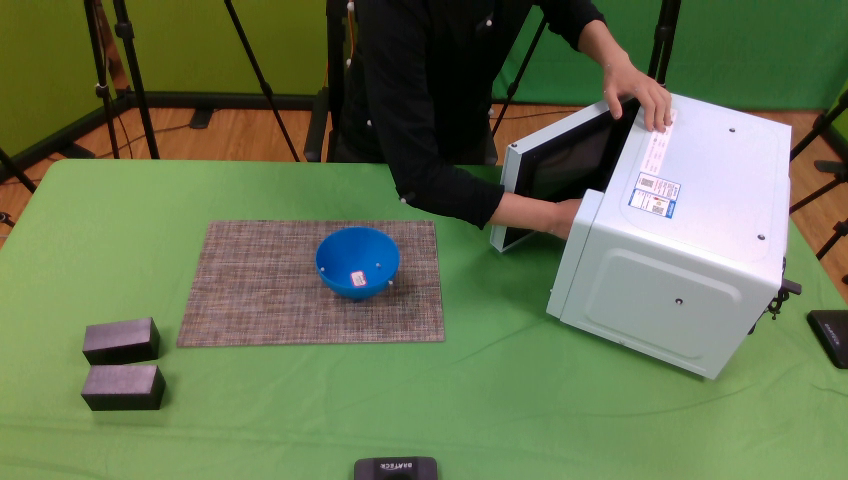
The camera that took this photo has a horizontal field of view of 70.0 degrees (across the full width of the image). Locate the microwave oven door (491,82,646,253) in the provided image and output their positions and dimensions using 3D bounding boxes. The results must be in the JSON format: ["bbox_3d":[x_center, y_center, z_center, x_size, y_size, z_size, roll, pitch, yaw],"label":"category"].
[{"bbox_3d":[0.284,-0.144,1.179,0.356,0.245,0.039,-29,53,-27],"label":"microwave oven door"}]

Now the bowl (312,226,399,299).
[{"bbox_3d":[-0.121,0.054,1.091,0.151,0.077,0.150,2,46,-2],"label":"bowl"}]

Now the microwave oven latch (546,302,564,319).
[{"bbox_3d":[0.242,0.102,1.081,0.030,0.029,0.079,22,48,17],"label":"microwave oven latch"}]

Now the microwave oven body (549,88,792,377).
[{"bbox_3d":[0.456,-0.028,1.088,0.325,0.261,0.440,20,47,16],"label":"microwave oven body"}]
